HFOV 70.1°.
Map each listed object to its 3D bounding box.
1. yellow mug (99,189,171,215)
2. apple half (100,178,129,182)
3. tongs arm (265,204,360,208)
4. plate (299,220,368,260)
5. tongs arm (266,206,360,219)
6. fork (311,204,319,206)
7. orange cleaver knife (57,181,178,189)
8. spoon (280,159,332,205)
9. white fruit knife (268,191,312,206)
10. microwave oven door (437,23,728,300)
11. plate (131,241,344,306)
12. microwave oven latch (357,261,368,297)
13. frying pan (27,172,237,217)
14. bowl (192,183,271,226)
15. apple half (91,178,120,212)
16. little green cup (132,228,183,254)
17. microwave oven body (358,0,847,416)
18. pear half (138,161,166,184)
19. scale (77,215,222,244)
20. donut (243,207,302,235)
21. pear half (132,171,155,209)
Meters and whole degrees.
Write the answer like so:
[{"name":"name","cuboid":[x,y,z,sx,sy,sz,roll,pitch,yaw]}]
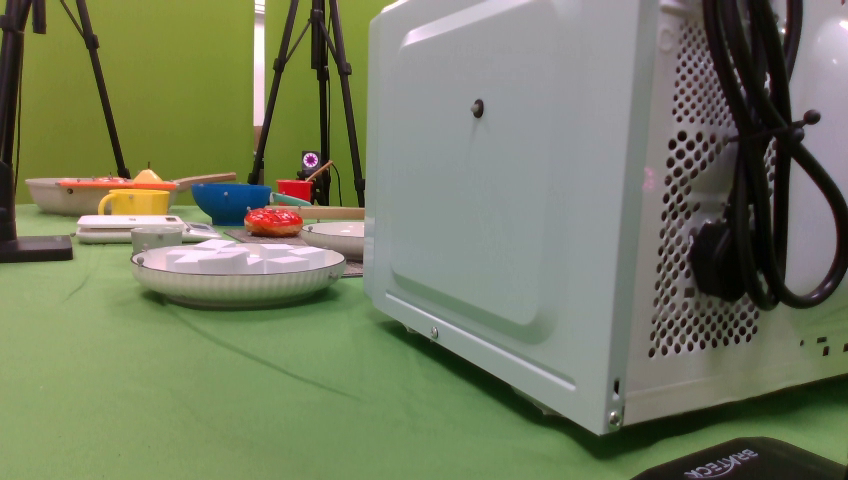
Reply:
[{"name":"yellow mug","cuboid":[-0.519,-0.055,1.080,0.099,0.064,0.131,7,10,26]},{"name":"apple half","cuboid":[-0.638,-0.092,1.265,0.053,0.074,0.081,7,5,10]},{"name":"tongs arm","cuboid":[-0.210,-0.068,1.440,0.389,0.027,0.028,0,-1,-17]},{"name":"plate","cuboid":[-0.078,-0.001,0.890,0.209,0.038,0.209,2,8,0]},{"name":"tongs arm","cuboid":[-0.173,-0.061,1.362,0.387,0.026,0.050,-1,3,-31]},{"name":"fork","cuboid":[-0.356,-0.105,1.526,0.208,0.018,0.028,16,-6,-41]},{"name":"orange cleaver knife","cuboid":[-0.600,-0.109,1.189,0.212,0.012,0.077,-1,11,-26]},{"name":"spoon","cuboid":[-0.316,-0.159,1.640,0.194,0.022,0.041,-50,32,-20]},{"name":"white fruit knife","cuboid":[-0.364,-0.105,1.464,0.208,0.027,0.016,15,0,-34]},{"name":"microwave oven door","cuboid":[0.180,-0.072,0.621,0.358,0.243,0.039,-2,8,-29]},{"name":"plate","cuboid":[-0.187,0.033,0.625,0.208,0.039,0.207,2,8,0]},{"name":"microwave oven latch","cuboid":[-0.019,0.033,0.531,0.079,0.029,0.030,-1,7,-27]},{"name":"frying pan","cuboid":[-0.624,-0.118,1.387,0.305,0.102,0.490,8,17,32]},{"name":"bowl","cuboid":[-0.382,-0.071,1.202,0.151,0.077,0.151,3,7,0]},{"name":"apple half","cuboid":[-0.677,-0.096,1.271,0.033,0.081,0.081,7,8,10]},{"name":"little green cup","cuboid":[-0.342,0.006,0.779,0.061,0.038,0.061,2,8,0]},{"name":"microwave oven body","cuboid":[0.211,-0.047,0.475,0.444,0.260,0.324,-1,7,-28]},{"name":"pear half","cuboid":[-0.602,-0.120,1.354,0.056,0.110,0.076,4,11,5]},{"name":"scale","cuboid":[-0.434,-0.019,0.963,0.202,0.031,0.148,-1,9,-27]},{"name":"donut","cuboid":[-0.261,-0.032,1.043,0.099,0.048,0.099,4,9,0]},{"name":"pear half","cuboid":[-0.636,-0.113,1.362,0.031,0.088,0.070,3,13,1]}]
